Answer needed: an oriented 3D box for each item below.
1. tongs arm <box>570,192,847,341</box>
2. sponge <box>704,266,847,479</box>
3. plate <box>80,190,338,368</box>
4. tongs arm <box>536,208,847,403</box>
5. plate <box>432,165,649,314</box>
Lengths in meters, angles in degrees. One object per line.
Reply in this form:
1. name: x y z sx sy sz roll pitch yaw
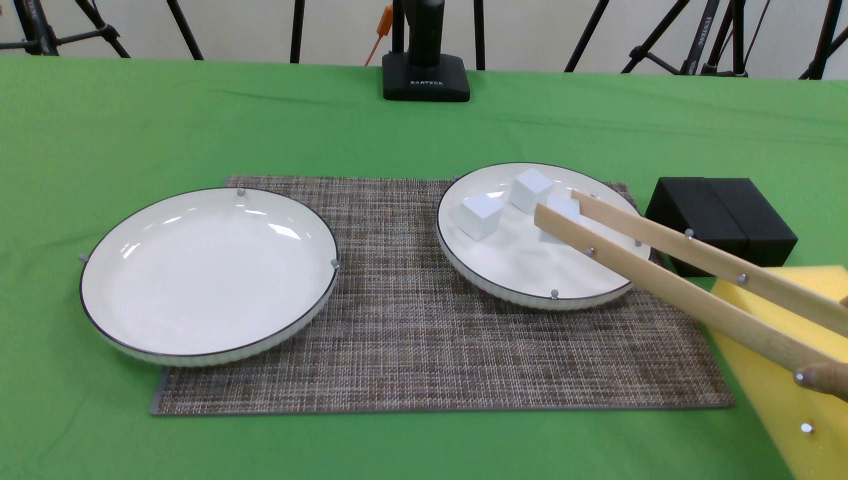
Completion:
1. tongs arm: 0.251 0.047 0.440 0.051 0.027 0.381 -27 41 -34
2. sponge: 0.324 0.114 0.476 0.118 0.061 0.204 -3 42 -8
3. plate: -0.179 0.032 0.527 0.209 0.038 0.207 3 41 -2
4. tongs arm: 0.227 0.058 0.425 0.028 0.028 0.383 -22 38 -34
5. plate: 0.111 -0.001 0.596 0.208 0.039 0.205 3 41 -3
